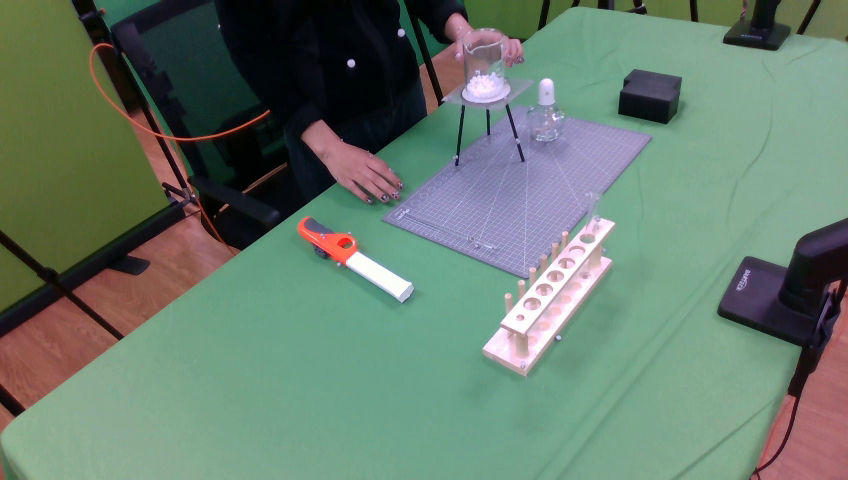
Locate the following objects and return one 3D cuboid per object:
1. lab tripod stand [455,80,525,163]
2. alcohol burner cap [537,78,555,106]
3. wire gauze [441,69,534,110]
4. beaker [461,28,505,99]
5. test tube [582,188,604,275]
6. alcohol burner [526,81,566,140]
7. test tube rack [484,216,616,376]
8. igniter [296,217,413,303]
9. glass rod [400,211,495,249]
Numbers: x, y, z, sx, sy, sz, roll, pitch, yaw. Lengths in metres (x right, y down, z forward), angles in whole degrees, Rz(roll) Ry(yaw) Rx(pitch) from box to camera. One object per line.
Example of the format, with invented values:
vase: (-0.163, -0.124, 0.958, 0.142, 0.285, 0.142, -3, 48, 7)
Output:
lab tripod stand: (0.120, -0.220, 1.126, 0.148, 0.132, 0.147, -4, 40, 4)
alcohol burner cap: (0.229, -0.279, 1.136, 0.034, 0.048, 0.033, -6, 33, 4)
wire gauze: (0.114, -0.268, 1.082, 0.120, 0.011, 0.125, 22, 47, 29)
beaker: (0.103, -0.304, 1.051, 0.073, 0.101, 0.084, 19, 48, 29)
test tube: (0.228, -0.007, 0.821, 0.017, 0.151, 0.017, -3, 42, 3)
alcohol burner: (0.234, -0.252, 1.159, 0.078, 0.119, 0.077, -4, 42, 4)
test tube rack: (0.174, 0.064, 0.823, 0.066, 0.085, 0.243, 23, 49, 32)
igniter: (-0.121, 0.025, 0.970, 0.274, 0.025, 0.057, 30, 63, 37)
glass rod: (0.035, -0.018, 1.001, 0.198, 0.008, 0.008, 22, 49, 35)
